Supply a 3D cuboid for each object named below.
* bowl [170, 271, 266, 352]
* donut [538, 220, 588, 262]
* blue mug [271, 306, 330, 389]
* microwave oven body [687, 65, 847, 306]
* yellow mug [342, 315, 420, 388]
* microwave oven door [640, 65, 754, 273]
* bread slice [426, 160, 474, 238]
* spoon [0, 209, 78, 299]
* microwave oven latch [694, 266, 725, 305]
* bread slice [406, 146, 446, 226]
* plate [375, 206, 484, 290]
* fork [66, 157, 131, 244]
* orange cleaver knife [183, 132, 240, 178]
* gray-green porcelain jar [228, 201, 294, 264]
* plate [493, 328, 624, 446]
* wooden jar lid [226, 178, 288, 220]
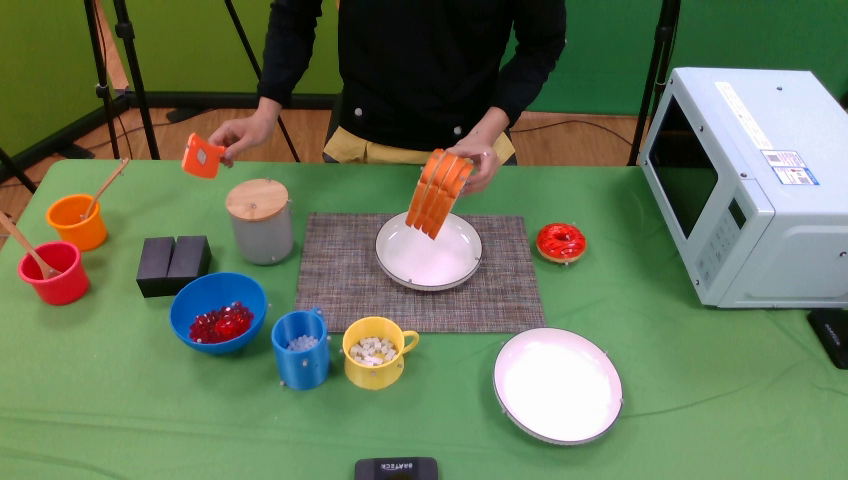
[{"bbox_3d":[-0.333,0.132,1.006,0.151,0.077,0.150,2,46,-2],"label":"bowl"},{"bbox_3d":[0.273,0.000,1.198,0.099,0.048,0.098,0,46,0],"label":"donut"},{"bbox_3d":[-0.188,0.163,0.969,0.082,0.106,0.116,15,47,10],"label":"blue mug"},{"bbox_3d":[0.669,-0.111,1.176,0.326,0.261,0.439,0,46,-3],"label":"microwave oven body"},{"bbox_3d":[-0.068,0.177,0.990,0.131,0.064,0.099,-15,50,-19],"label":"yellow mug"},{"bbox_3d":[0.523,-0.147,1.193,0.039,0.245,0.353,0,47,-3],"label":"microwave oven door"},{"bbox_3d":[0.047,-0.076,1.057,0.018,0.134,0.106,29,50,1],"label":"bread slice"},{"bbox_3d":[-0.668,0.022,1.040,0.041,0.021,0.194,-41,105,-29],"label":"spoon"},{"bbox_3d":[0.523,0.082,1.115,0.030,0.029,0.078,3,46,0],"label":"microwave oven latch"},{"bbox_3d":[0.005,-0.101,1.058,0.019,0.132,0.104,24,44,4],"label":"bread slice"},{"bbox_3d":[0.009,0.019,1.160,0.209,0.038,0.208,2,46,-2],"label":"plate"},{"bbox_3d":[-0.608,-0.074,1.132,0.207,0.019,0.028,-52,48,10],"label":"fork"},{"bbox_3d":[-0.392,-0.154,1.128,0.012,0.077,0.211,10,5,5],"label":"orange cleaver knife"},{"bbox_3d":[-0.299,-0.027,1.126,0.106,0.127,0.105,2,46,-2],"label":"gray-green porcelain jar"},{"bbox_3d":[0.213,0.236,0.974,0.208,0.039,0.206,2,46,-2],"label":"plate"},{"bbox_3d":[-0.296,-0.070,1.081,0.108,0.021,0.107,1,45,-1],"label":"wooden jar lid"}]
